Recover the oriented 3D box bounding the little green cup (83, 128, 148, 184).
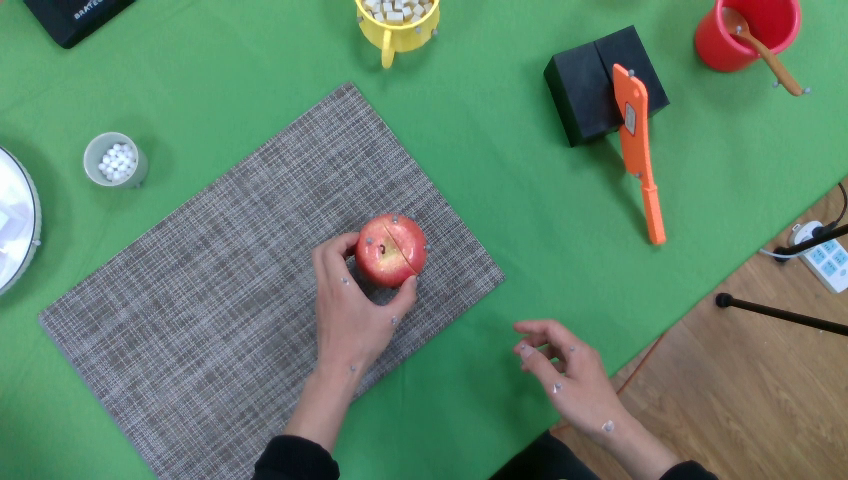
[{"bbox_3d":[-0.350,-0.093,0.692,0.061,0.038,0.061,0,86,-1],"label":"little green cup"}]

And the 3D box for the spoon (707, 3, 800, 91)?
[{"bbox_3d":[0.364,-0.218,0.670,0.041,0.191,0.022,-2,131,-2],"label":"spoon"}]

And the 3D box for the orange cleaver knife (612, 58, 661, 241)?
[{"bbox_3d":[0.240,-0.099,0.689,0.012,0.076,0.213,-18,116,0],"label":"orange cleaver knife"}]

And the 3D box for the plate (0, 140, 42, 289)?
[{"bbox_3d":[-0.532,-0.026,0.682,0.208,0.039,0.207,0,86,-2],"label":"plate"}]

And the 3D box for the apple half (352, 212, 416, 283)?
[{"bbox_3d":[-0.050,0.015,0.669,0.053,0.074,0.081,-34,91,2],"label":"apple half"}]

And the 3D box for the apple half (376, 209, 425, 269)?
[{"bbox_3d":[-0.018,-0.007,0.669,0.033,0.081,0.081,-34,87,0],"label":"apple half"}]

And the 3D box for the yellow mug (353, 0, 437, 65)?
[{"bbox_3d":[-0.036,-0.268,0.700,0.100,0.064,0.130,10,87,-1],"label":"yellow mug"}]
